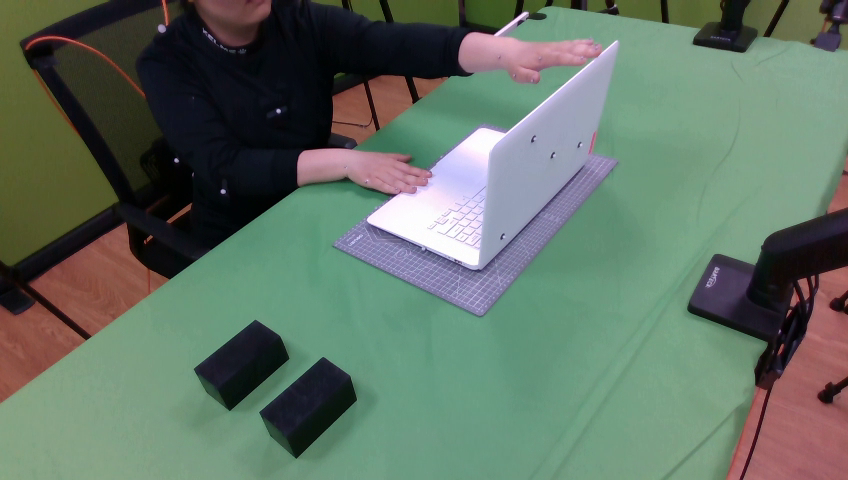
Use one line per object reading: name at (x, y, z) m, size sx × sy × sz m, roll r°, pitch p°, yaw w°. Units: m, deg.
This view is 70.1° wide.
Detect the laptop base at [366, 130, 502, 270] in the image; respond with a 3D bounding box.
laptop base at (0.098, -0.085, 1.058) m, size 0.233 × 0.023 × 0.355 m, roll 20°, pitch 47°, yaw 34°

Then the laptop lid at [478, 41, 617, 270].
laptop lid at (0.191, -0.130, 0.913) m, size 0.013 × 0.242 × 0.358 m, roll 29°, pitch 50°, yaw 26°
